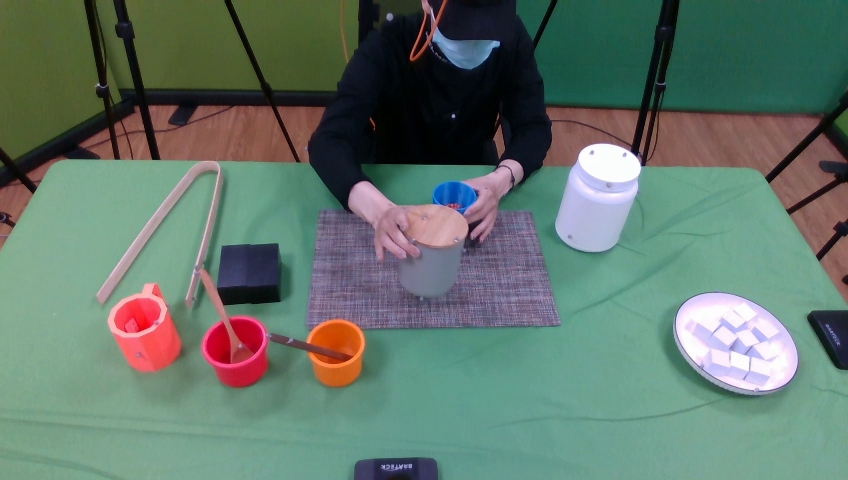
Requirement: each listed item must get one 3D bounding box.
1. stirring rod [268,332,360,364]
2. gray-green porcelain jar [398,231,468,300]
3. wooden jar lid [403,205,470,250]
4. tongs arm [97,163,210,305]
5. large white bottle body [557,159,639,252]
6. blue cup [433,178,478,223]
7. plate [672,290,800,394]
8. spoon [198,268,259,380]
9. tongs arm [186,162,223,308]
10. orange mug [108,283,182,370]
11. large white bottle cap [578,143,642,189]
[{"bbox_3d":[-0.167,0.169,0.941,0.177,0.006,0.014,26,27,-41],"label":"stirring rod"},{"bbox_3d":[0.012,0.030,1.025,0.106,0.127,0.105,6,40,-5],"label":"gray-green porcelain jar"},{"bbox_3d":[0.020,-0.017,0.985,0.108,0.021,0.107,4,42,-4],"label":"wooden jar lid"},{"bbox_3d":[-0.520,-0.027,1.184,0.028,0.028,0.385,5,45,13],"label":"tongs arm"},{"bbox_3d":[0.340,-0.081,1.185,0.131,0.185,0.130,2,46,-1],"label":"large white bottle body"},{"bbox_3d":[0.055,-0.055,1.188,0.093,0.100,0.092,4,49,-5],"label":"blue cup"},{"bbox_3d":[0.533,0.179,1.050,0.208,0.039,0.206,2,46,-2],"label":"plate"},{"bbox_3d":[-0.313,0.133,0.962,0.041,0.021,0.194,-24,96,-21],"label":"spoon"},{"bbox_3d":[-0.436,-0.024,1.181,0.051,0.027,0.382,-3,45,0],"label":"tongs arm"},{"bbox_3d":[-0.446,0.134,0.982,0.083,0.101,0.125,-1,51,-5],"label":"orange mug"},{"bbox_3d":[0.344,-0.139,1.123,0.115,0.018,0.114,2,46,-2],"label":"large white bottle cap"}]
